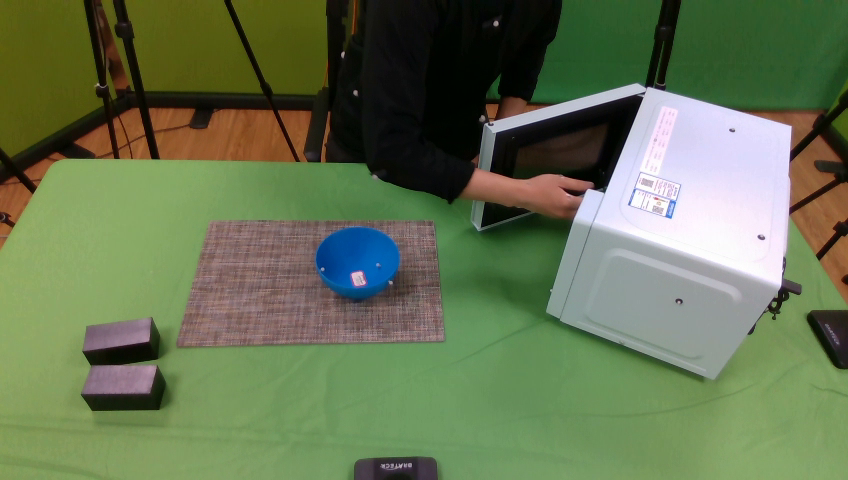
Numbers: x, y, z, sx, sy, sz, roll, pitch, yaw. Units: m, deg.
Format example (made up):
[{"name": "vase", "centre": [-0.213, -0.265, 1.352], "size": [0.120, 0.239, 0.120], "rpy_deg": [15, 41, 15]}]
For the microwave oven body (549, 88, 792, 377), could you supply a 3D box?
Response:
[{"name": "microwave oven body", "centre": [0.456, -0.028, 1.088], "size": [0.325, 0.261, 0.440], "rpy_deg": [20, 47, 16]}]

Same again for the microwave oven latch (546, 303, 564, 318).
[{"name": "microwave oven latch", "centre": [0.242, 0.102, 1.081], "size": [0.030, 0.029, 0.079], "rpy_deg": [22, 48, 17]}]

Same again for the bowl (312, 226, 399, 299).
[{"name": "bowl", "centre": [-0.120, 0.054, 1.091], "size": [0.151, 0.077, 0.150], "rpy_deg": [2, 46, -2]}]

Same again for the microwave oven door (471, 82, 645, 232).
[{"name": "microwave oven door", "centre": [0.265, -0.164, 1.198], "size": [0.356, 0.245, 0.039], "rpy_deg": [-19, 49, -20]}]
